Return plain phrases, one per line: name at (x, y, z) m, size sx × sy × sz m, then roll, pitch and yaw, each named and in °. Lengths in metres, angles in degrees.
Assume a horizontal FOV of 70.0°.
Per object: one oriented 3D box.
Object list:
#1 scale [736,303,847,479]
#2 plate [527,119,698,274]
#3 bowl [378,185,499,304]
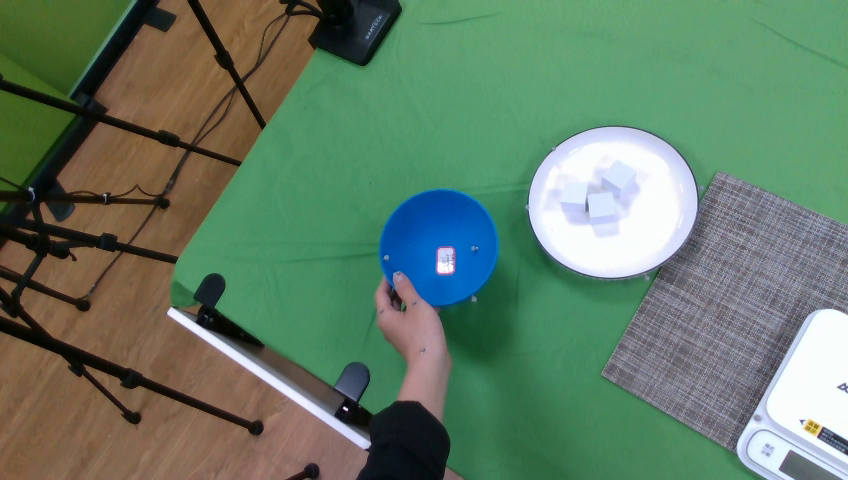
scale at (0.450, 0.181, 0.650) m, size 0.147 × 0.032 × 0.200 m, roll 30°, pitch 84°, yaw 22°
plate at (0.239, -0.054, 0.780) m, size 0.207 × 0.039 × 0.206 m, roll -4°, pitch 73°, yaw 14°
bowl at (0.024, 0.013, 0.771) m, size 0.151 × 0.077 × 0.150 m, roll -3°, pitch 74°, yaw 11°
